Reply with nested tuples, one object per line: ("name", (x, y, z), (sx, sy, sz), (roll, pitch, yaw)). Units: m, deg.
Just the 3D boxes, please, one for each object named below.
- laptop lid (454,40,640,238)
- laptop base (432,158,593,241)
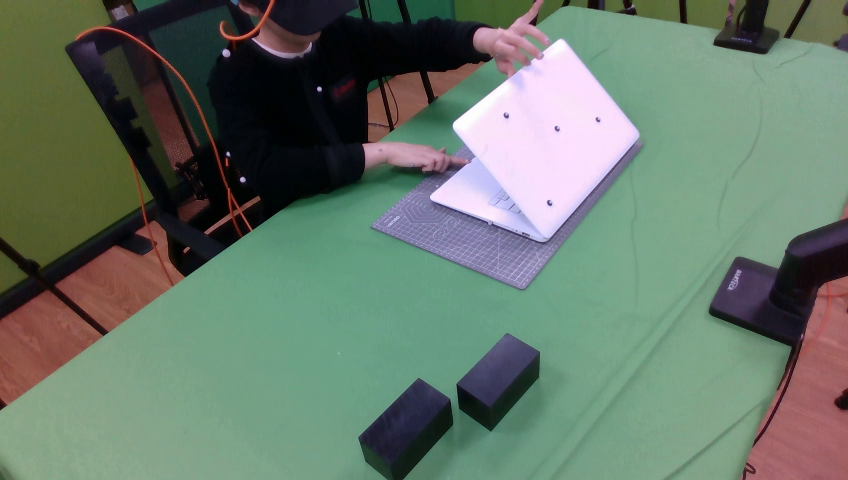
("laptop lid", (0.224, -0.186, 1.023), (0.242, 0.013, 0.358), (51, 55, -3))
("laptop base", (0.208, -0.129, 1.098), (0.233, 0.023, 0.355), (20, 47, 34))
